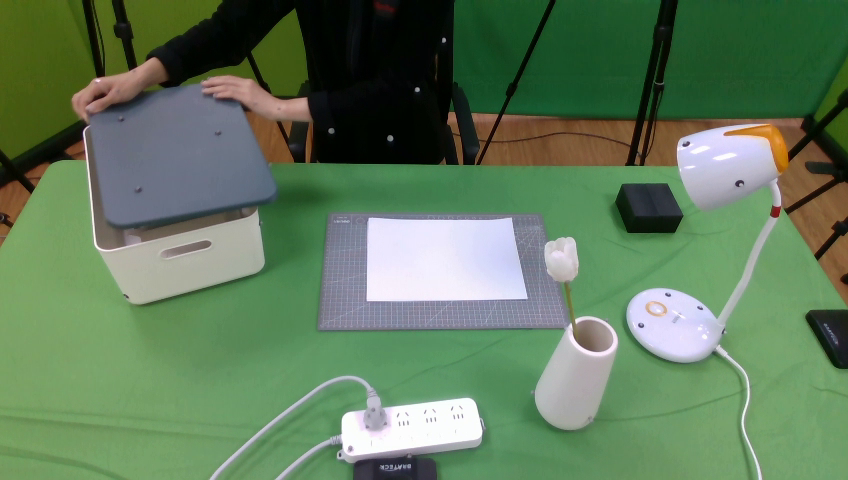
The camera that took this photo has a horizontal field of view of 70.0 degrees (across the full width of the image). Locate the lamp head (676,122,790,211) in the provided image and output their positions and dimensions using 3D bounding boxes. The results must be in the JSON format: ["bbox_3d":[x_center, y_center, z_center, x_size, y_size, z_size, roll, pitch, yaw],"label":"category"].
[{"bbox_3d":[0.423,-0.104,0.819,0.122,0.113,0.112,-13,33,40],"label":"lamp head"}]

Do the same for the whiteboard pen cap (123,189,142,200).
[{"bbox_3d":[-0.591,-0.092,1.231,0.033,0.018,0.018,-14,49,-17],"label":"whiteboard pen cap"}]

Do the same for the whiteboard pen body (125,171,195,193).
[{"bbox_3d":[-0.553,-0.119,1.270,0.141,0.017,0.017,-18,50,-15],"label":"whiteboard pen body"}]

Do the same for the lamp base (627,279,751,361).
[{"bbox_3d":[0.460,0.100,1.027,0.178,0.181,0.160,27,51,17],"label":"lamp base"}]

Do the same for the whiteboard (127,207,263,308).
[{"bbox_3d":[-0.464,-0.058,1.137,0.217,0.144,0.303,-20,50,-17],"label":"whiteboard"}]

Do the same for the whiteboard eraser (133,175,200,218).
[{"bbox_3d":[-0.499,-0.082,1.176,0.113,0.042,0.055,-27,59,-24],"label":"whiteboard eraser"}]

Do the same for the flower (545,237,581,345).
[{"bbox_3d":[0.213,0.137,0.846,0.038,0.364,0.044,20,54,39],"label":"flower"}]

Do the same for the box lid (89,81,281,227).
[{"bbox_3d":[-0.421,-0.165,1.049,0.264,0.015,0.369,-14,49,-22],"label":"box lid"}]

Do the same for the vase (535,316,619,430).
[{"bbox_3d":[0.229,0.200,0.901,0.098,0.201,0.097,3,46,-3],"label":"vase"}]

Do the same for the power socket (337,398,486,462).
[{"bbox_3d":[-0.018,0.285,0.914,0.227,0.033,0.071,-4,46,-8],"label":"power socket"}]

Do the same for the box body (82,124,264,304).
[{"bbox_3d":[-0.465,-0.077,1.137,0.254,0.161,0.361,-16,50,-19],"label":"box body"}]

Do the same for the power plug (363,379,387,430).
[{"bbox_3d":[-0.072,0.252,0.911,0.035,0.053,0.072,3,40,-1],"label":"power plug"}]
